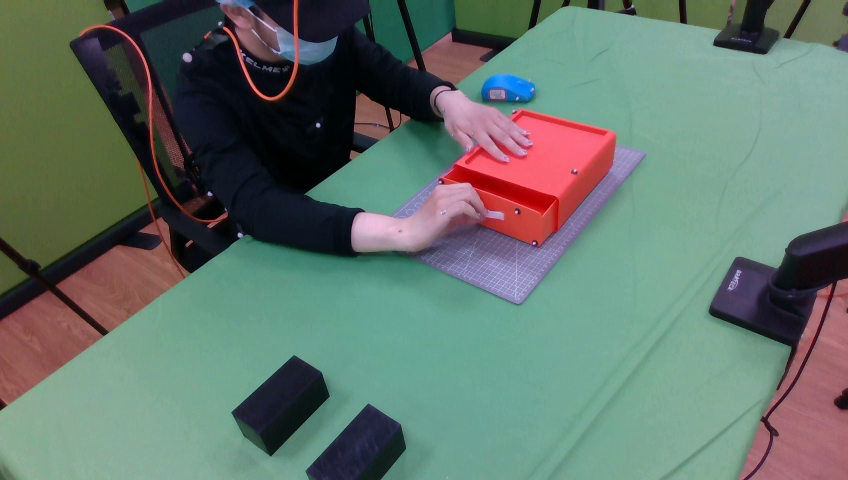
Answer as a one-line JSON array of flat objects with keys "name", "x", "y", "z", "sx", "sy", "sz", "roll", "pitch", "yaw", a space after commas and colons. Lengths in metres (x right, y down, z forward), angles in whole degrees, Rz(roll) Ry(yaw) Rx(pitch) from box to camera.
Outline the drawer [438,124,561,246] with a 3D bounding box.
[{"name": "drawer", "x": 0.163, "y": -0.102, "z": 1.014, "sx": 0.193, "sy": 0.073, "sz": 0.212, "roll": 23, "pitch": 48, "yaw": 31}]

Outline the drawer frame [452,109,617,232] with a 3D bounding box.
[{"name": "drawer frame", "x": 0.190, "y": -0.128, "z": 1.039, "sx": 0.200, "sy": 0.083, "sz": 0.214, "roll": 21, "pitch": 47, "yaw": 30}]

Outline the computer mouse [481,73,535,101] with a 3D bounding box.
[{"name": "computer mouse", "x": 0.183, "y": -0.335, "z": 1.320, "sx": 0.117, "sy": 0.041, "sz": 0.063, "roll": 11, "pitch": 42, "yaw": 14}]
